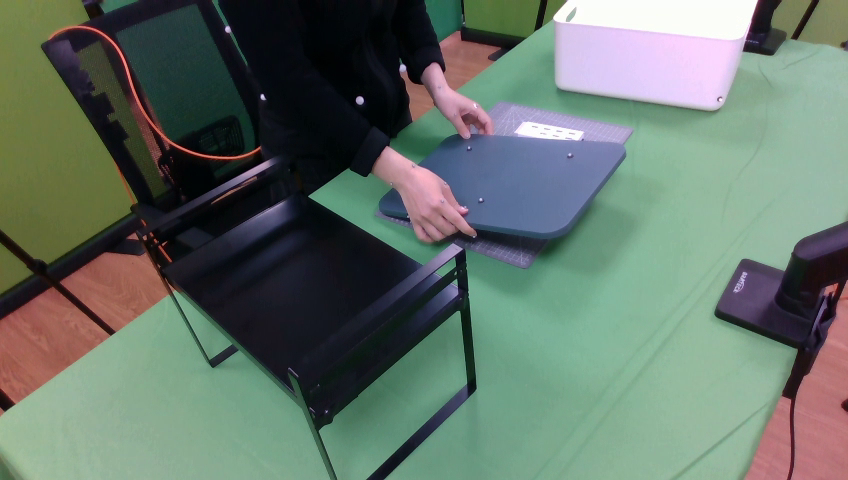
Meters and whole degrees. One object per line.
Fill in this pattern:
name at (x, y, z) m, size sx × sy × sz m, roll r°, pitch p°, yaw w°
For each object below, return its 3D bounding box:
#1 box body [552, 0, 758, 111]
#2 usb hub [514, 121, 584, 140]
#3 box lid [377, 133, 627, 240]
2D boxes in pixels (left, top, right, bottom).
box body at (0.480, -0.417, 1.282) m, size 0.362 × 0.161 × 0.254 m, roll 16°, pitch 46°, yaw 25°
usb hub at (0.241, -0.200, 1.165) m, size 0.124 × 0.025 × 0.049 m, roll 17°, pitch 46°, yaw 26°
box lid at (0.122, -0.105, 1.019) m, size 0.368 × 0.015 × 0.264 m, roll 12°, pitch 44°, yaw 37°
